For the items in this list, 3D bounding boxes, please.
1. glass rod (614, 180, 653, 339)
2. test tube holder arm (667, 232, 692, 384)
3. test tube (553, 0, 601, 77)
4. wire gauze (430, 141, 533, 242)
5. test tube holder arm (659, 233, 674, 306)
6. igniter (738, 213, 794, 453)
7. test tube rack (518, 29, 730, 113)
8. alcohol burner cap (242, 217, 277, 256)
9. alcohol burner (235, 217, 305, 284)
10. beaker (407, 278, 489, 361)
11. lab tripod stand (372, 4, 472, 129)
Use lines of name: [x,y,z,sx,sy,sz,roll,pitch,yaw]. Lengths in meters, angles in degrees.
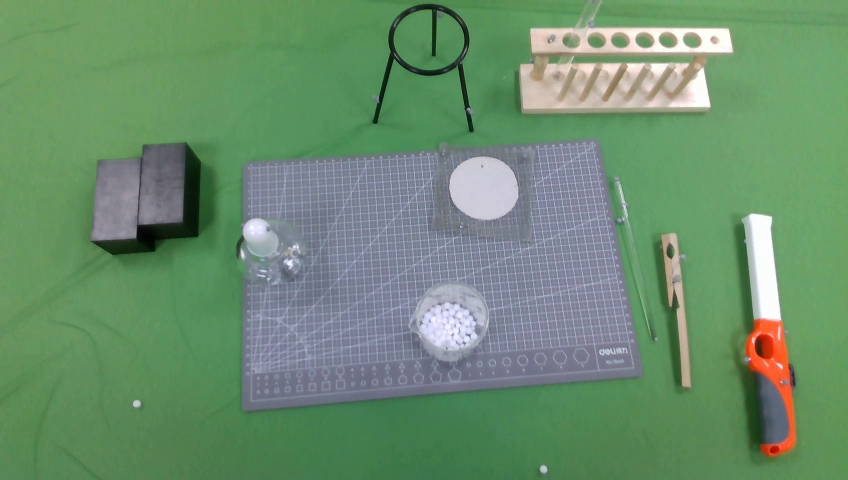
glass rod: [0.252,0.020,0.730,0.008,0.008,0.198,-7,75,-4]
test tube holder arm: [0.297,0.077,0.706,0.013,0.015,0.177,-12,70,32]
test tube: [0.179,-0.239,0.717,0.017,0.151,0.017,1,72,-4]
wire gauze: [0.073,-0.063,0.749,0.125,0.011,0.121,7,74,0]
test tube holder arm: [0.291,0.035,0.722,0.010,0.015,0.087,-12,70,32]
igniter: [0.392,0.101,0.698,0.057,0.025,0.275,7,73,-10]
test tube rack: [0.247,-0.211,0.762,0.242,0.085,0.066,-1,72,-1]
alcohol burner cap: [-0.173,-0.006,0.631,0.034,0.048,0.033,2,68,-5]
alcohol burner: [-0.173,0.006,0.665,0.078,0.120,0.077,0,71,1]
beaker: [0.024,0.091,0.652,0.084,0.101,0.073,-12,72,-4]
lab tripod stand: [0.001,-0.200,0.727,0.148,0.132,0.147,0,74,-1]
